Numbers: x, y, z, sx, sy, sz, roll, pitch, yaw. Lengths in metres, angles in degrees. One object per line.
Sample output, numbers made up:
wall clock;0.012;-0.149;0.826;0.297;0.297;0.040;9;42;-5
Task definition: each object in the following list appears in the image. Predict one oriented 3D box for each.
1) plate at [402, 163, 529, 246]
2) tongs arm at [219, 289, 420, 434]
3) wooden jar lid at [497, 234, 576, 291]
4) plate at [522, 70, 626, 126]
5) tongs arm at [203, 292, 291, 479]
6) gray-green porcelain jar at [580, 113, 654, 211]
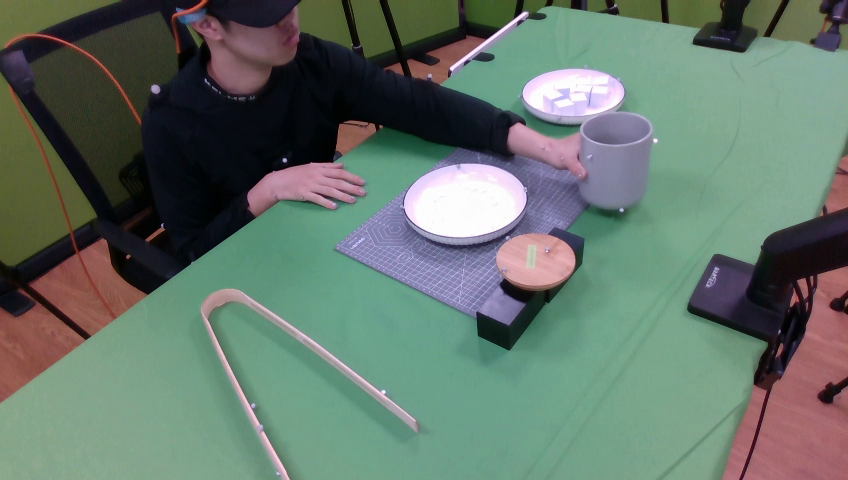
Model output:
plate;0.069;-0.056;1.008;0.209;0.038;0.208;-4;40;4
tongs arm;-0.152;0.151;0.812;0.384;0.028;0.028;26;52;33
wooden jar lid;0.155;0.032;0.834;0.108;0.021;0.108;-5;40;5
plate;0.308;-0.289;1.250;0.207;0.039;0.206;-4;40;4
tongs arm;-0.216;0.187;0.772;0.051;0.026;0.381;-27;43;-24
gray-green porcelain jar;0.299;-0.118;0.947;0.106;0.127;0.105;-5;38;5
